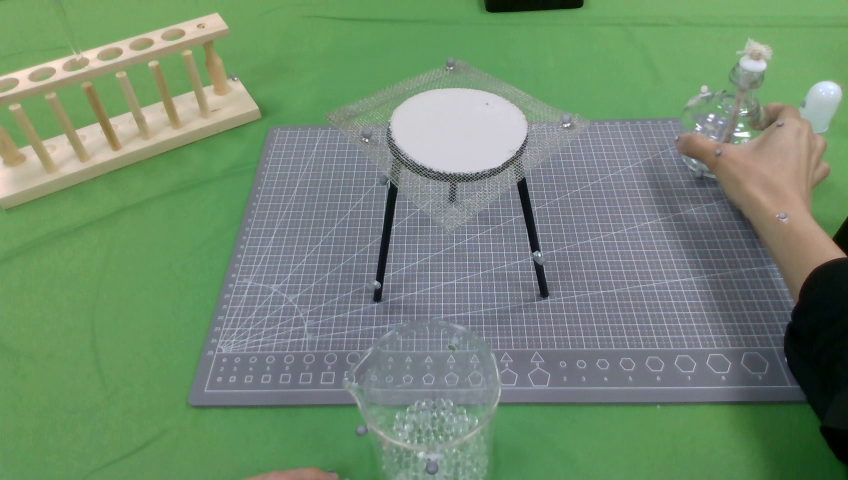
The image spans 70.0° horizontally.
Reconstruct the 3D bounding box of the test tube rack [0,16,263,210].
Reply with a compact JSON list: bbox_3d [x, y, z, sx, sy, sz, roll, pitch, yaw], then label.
[{"bbox_3d":[-0.285,-0.123,0.564,0.242,0.086,0.066,-25,52,-18],"label":"test tube rack"}]

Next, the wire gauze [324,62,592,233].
[{"bbox_3d":[0.020,-0.069,0.377,0.121,0.011,0.124,-33,55,-25],"label":"wire gauze"}]

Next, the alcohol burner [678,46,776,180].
[{"bbox_3d":[0.258,-0.109,0.505,0.078,0.120,0.077,-1,50,1],"label":"alcohol burner"}]

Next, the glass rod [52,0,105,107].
[{"bbox_3d":[-0.298,-0.167,0.515,0.008,0.201,0.008,2,49,-2],"label":"glass rod"}]

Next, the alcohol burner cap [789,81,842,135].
[{"bbox_3d":[0.370,-0.127,0.568,0.034,0.048,0.033,-1,48,1],"label":"alcohol burner cap"}]

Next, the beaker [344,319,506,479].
[{"bbox_3d":[0.002,0.104,0.343,0.084,0.101,0.073,2,48,5],"label":"beaker"}]

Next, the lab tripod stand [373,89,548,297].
[{"bbox_3d":[0.027,-0.026,0.430,0.148,0.132,0.147,0,48,0],"label":"lab tripod stand"}]
